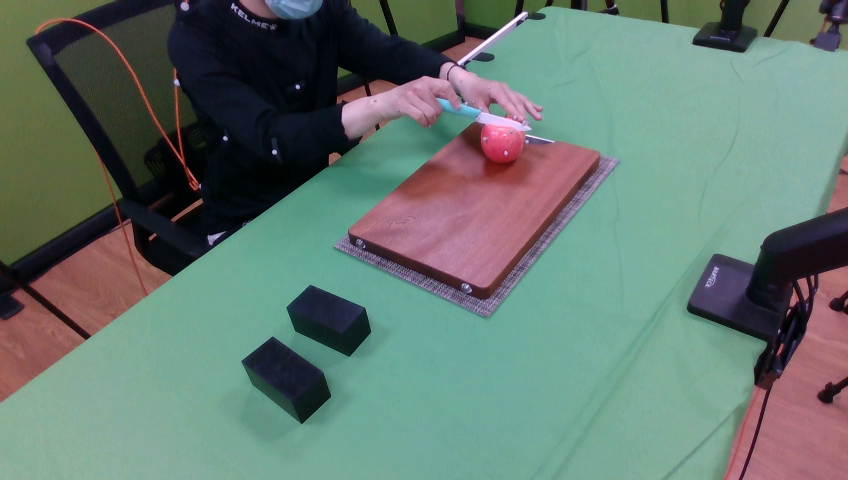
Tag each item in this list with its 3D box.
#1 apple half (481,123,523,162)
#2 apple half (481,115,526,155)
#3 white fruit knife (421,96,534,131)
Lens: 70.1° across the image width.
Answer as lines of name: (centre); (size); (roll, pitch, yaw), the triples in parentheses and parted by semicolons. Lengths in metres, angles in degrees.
apple half: (0.132, -0.163, 1.054); (0.081, 0.081, 0.033); (12, 42, 21)
apple half: (0.146, -0.187, 1.081); (0.080, 0.075, 0.053); (7, 38, 23)
white fruit knife: (0.091, -0.219, 1.050); (0.206, 0.027, 0.016); (18, 52, 15)
